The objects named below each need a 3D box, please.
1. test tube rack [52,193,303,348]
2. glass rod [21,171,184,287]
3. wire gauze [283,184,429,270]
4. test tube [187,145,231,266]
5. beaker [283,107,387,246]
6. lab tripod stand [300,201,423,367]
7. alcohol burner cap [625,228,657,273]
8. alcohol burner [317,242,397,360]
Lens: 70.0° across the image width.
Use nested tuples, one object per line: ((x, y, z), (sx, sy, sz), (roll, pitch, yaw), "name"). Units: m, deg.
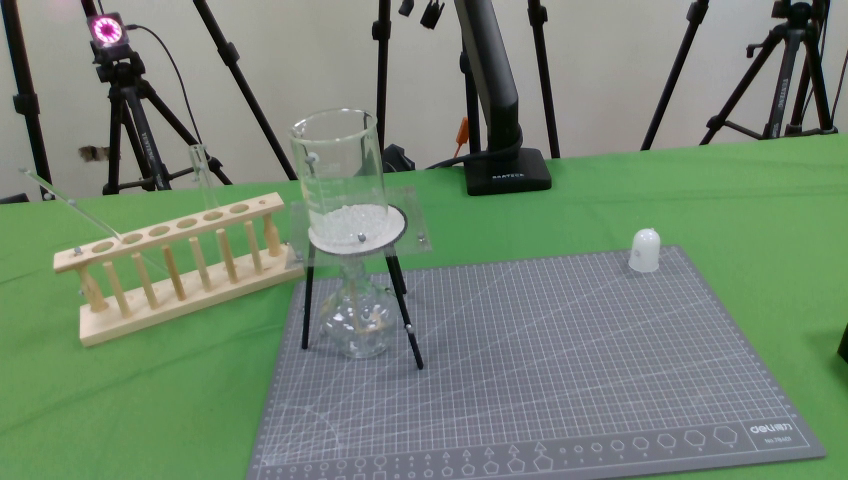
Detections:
((-0.270, 0.029, 0.684), (0.243, 0.086, 0.066), (-19, 35, -19), "test tube rack")
((-0.333, -0.005, 0.643), (0.008, 0.202, 0.008), (-24, 41, 22), "glass rod")
((-0.064, -0.013, 0.544), (0.125, 0.011, 0.120), (-11, 31, -2), "wire gauze")
((-0.242, -0.035, 0.688), (0.017, 0.151, 0.017), (-3, 30, 2), "test tube")
((-0.074, -0.052, 0.517), (0.083, 0.101, 0.074), (12, 36, 27), "beaker")
((-0.058, 0.042, 0.580), (0.148, 0.132, 0.147), (-5, 34, 4), "lab tripod stand")
((0.241, 0.009, 0.669), (0.034, 0.048, 0.033), (-4, 33, 3), "alcohol burner cap")
((-0.066, 0.055, 0.580), (0.078, 0.120, 0.077), (-4, 31, 3), "alcohol burner")
